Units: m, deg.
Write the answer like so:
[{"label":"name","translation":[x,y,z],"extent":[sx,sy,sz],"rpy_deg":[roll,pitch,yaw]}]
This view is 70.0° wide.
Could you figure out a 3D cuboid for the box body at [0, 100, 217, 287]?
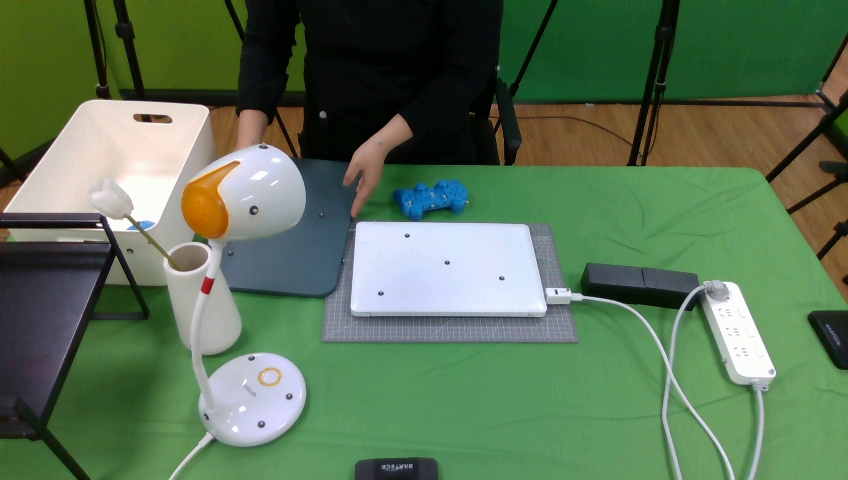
[{"label":"box body","translation":[-0.559,-0.092,1.145],"extent":[0.254,0.161,0.361],"rpy_deg":[3,46,-2]}]

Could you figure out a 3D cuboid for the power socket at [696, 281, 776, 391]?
[{"label":"power socket","translation":[0.550,0.160,1.078],"extent":[0.072,0.033,0.225],"rpy_deg":[2,46,-1]}]

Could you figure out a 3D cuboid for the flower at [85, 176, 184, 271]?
[{"label":"flower","translation":[-0.365,0.038,0.894],"extent":[0.038,0.364,0.044],"rpy_deg":[-6,53,14]}]

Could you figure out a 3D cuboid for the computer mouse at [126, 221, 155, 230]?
[{"label":"computer mouse","translation":[-0.537,0.009,1.127],"extent":[0.062,0.041,0.117],"rpy_deg":[32,56,20]}]

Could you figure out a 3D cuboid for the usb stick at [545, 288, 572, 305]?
[{"label":"usb stick","translation":[0.236,0.102,1.101],"extent":[0.059,0.027,0.021],"rpy_deg":[-2,47,2]}]

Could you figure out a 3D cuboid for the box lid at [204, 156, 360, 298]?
[{"label":"box lid","translation":[-0.281,-0.041,1.207],"extent":[0.263,0.015,0.369],"rpy_deg":[5,49,0]}]

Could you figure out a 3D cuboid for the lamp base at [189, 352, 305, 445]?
[{"label":"lamp base","translation":[-0.268,0.196,0.876],"extent":[0.160,0.181,0.179],"rpy_deg":[26,52,20]}]

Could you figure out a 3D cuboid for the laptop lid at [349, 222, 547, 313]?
[{"label":"laptop lid","translation":[0.041,0.045,1.143],"extent":[0.357,0.013,0.240],"rpy_deg":[2,44,-3]}]

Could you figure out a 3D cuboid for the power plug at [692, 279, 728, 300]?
[{"label":"power plug","translation":[0.522,0.091,1.116],"extent":[0.072,0.053,0.035],"rpy_deg":[10,47,8]}]

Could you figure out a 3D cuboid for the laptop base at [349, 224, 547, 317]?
[{"label":"laptop base","translation":[0.041,0.055,1.149],"extent":[0.355,0.023,0.234],"rpy_deg":[1,42,-4]}]

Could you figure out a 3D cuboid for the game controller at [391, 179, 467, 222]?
[{"label":"game controller","translation":[0.016,-0.093,1.273],"extent":[0.155,0.052,0.096],"rpy_deg":[-11,53,-14]}]

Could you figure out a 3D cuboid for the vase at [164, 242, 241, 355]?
[{"label":"vase","translation":[-0.349,0.096,0.954],"extent":[0.098,0.201,0.097],"rpy_deg":[3,47,-3]}]

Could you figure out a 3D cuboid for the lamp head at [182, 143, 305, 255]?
[{"label":"lamp head","translation":[-0.216,-0.044,0.697],"extent":[0.112,0.113,0.123],"rpy_deg":[23,31,17]}]
